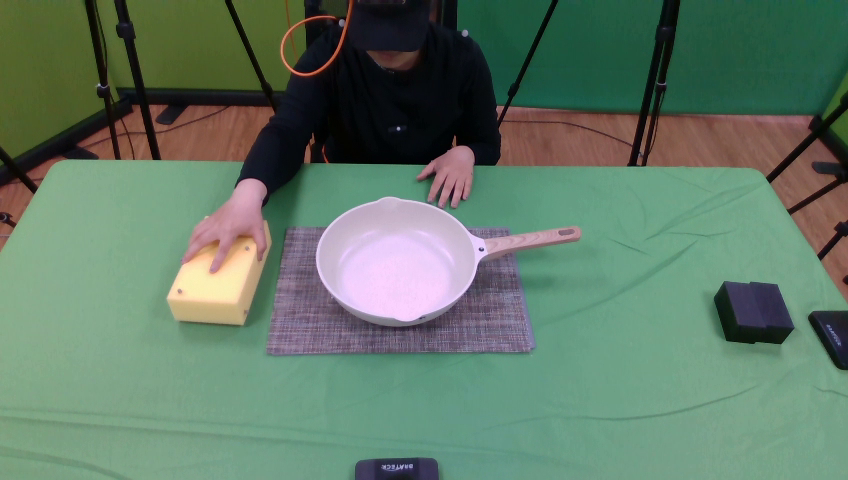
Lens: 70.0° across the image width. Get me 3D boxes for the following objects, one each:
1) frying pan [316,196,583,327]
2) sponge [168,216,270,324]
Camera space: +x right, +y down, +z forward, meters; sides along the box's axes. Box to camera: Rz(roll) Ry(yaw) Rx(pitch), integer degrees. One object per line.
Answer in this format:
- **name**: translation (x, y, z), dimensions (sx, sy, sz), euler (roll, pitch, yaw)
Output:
- **frying pan**: translation (0.054, 0.027, 1.114), dimensions (0.488, 0.103, 0.304), euler (-9, 48, -1)
- **sponge**: translation (-0.361, 0.049, 1.087), dimensions (0.118, 0.061, 0.205), euler (2, 45, 1)
